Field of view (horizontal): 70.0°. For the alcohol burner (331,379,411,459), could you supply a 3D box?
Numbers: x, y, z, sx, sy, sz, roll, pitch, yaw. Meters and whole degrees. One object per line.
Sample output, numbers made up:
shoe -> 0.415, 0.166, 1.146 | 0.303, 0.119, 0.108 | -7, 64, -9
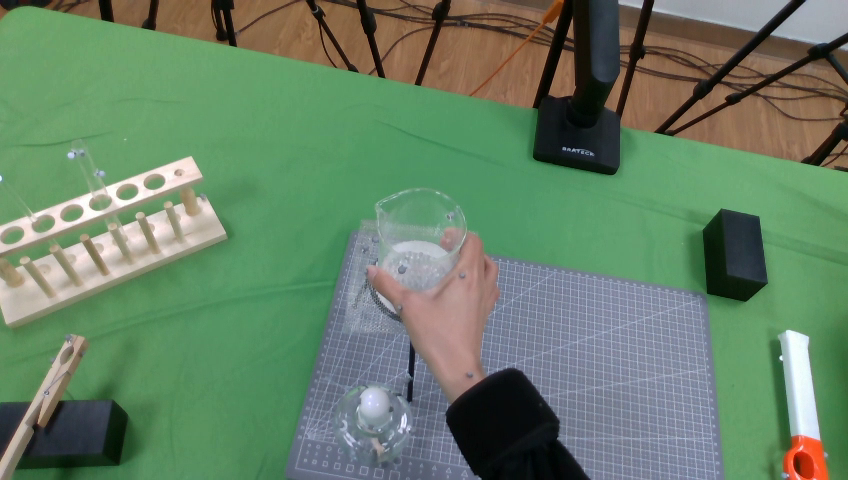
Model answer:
alcohol burner -> -0.050, 0.166, 0.581 | 0.078, 0.120, 0.077 | 4, 57, -6

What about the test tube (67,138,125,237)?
test tube -> -0.345, -0.049, 0.642 | 0.017, 0.151, 0.017 | 4, 53, -5

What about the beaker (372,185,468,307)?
beaker -> -0.010, 0.009, 0.535 | 0.083, 0.101, 0.073 | 26, 59, 10

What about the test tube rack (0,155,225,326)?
test tube rack -> -0.356, -0.002, 0.670 | 0.242, 0.086, 0.066 | -26, 64, -21

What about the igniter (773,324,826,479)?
igniter -> 0.409, 0.219, 0.655 | 0.057, 0.025, 0.274 | 18, 58, -7

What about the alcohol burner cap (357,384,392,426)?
alcohol burner cap -> -0.046, 0.148, 0.550 | 0.034, 0.048, 0.033 | 0, 62, 0

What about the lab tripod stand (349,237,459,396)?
lab tripod stand -> -0.015, 0.072, 0.632 | 0.148, 0.132, 0.147 | 4, 59, -6

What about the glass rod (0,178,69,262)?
glass rod -> -0.404, -0.032, 0.604 | 0.008, 0.201, 0.008 | 1, 54, 0

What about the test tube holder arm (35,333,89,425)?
test tube holder arm -> -0.344, 0.130, 0.572 | 0.010, 0.015, 0.087 | 13, 57, 2

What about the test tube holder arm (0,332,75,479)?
test tube holder arm -> -0.359, 0.165, 0.548 | 0.013, 0.015, 0.177 | 13, 57, 1

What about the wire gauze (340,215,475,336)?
wire gauze -> -0.012, 0.033, 0.578 | 0.121, 0.011, 0.124 | 6, 60, -2
